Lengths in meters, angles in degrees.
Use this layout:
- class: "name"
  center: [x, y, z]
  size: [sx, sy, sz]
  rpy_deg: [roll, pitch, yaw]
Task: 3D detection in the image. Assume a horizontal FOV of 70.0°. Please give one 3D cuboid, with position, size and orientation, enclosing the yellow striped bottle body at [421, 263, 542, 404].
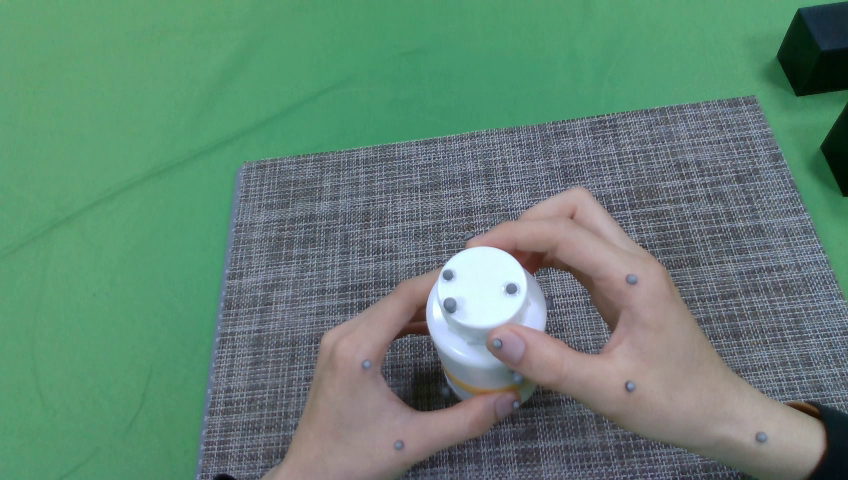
- class: "yellow striped bottle body"
  center: [0.033, 0.049, 0.340]
  size: [0.063, 0.121, 0.062]
  rpy_deg: [-3, 63, 5]

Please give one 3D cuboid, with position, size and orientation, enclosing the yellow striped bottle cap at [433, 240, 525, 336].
- class: "yellow striped bottle cap"
  center: [0.026, 0.023, 0.292]
  size: [0.044, 0.019, 0.044]
  rpy_deg: [-4, 63, 8]
